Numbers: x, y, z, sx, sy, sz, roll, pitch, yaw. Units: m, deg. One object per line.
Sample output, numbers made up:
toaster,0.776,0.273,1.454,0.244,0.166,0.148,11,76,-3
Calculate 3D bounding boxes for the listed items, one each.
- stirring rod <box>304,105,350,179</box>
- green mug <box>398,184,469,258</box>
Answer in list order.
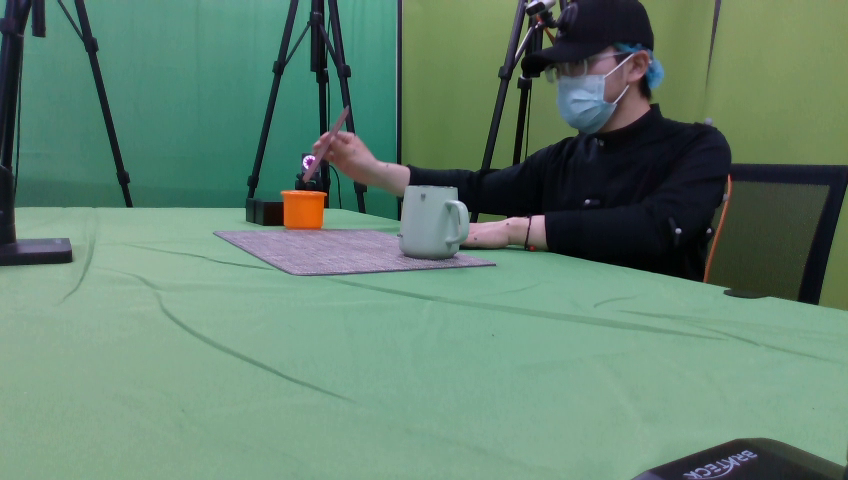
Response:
stirring rod,-0.193,-0.197,1.209,0.014,0.176,0.006,26,-14,5
green mug,0.020,-0.028,0.890,0.093,0.105,0.124,-4,9,-41
